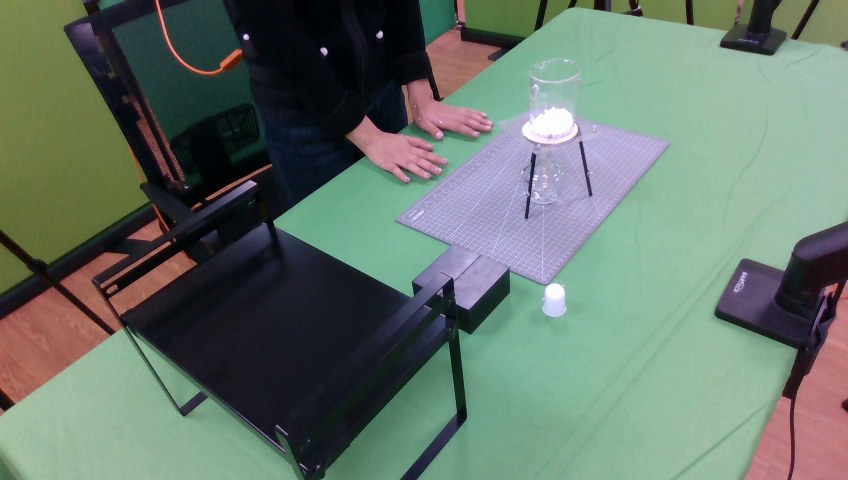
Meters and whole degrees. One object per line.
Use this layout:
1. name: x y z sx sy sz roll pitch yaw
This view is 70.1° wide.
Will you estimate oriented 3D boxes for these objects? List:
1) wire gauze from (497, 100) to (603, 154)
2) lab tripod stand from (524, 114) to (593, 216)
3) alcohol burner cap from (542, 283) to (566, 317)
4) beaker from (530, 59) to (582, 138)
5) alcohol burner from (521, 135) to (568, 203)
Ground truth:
1. wire gauze: 0.199 -0.179 0.962 0.125 0.011 0.120 -21 41 -12
2. lab tripod stand: 0.210 -0.127 1.001 0.148 0.132 0.147 -4 43 4
3. alcohol burner cap: 0.181 0.081 0.839 0.034 0.048 0.033 -4 40 3
4. beaker: 0.198 -0.217 0.932 0.074 0.101 0.083 -22 43 -16
5. alcohol burner: 0.201 -0.122 1.012 0.078 0.119 0.077 -6 41 6
